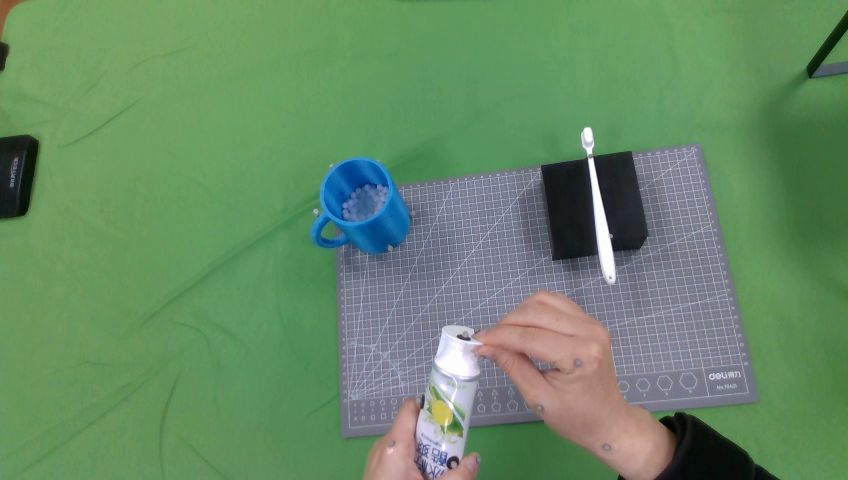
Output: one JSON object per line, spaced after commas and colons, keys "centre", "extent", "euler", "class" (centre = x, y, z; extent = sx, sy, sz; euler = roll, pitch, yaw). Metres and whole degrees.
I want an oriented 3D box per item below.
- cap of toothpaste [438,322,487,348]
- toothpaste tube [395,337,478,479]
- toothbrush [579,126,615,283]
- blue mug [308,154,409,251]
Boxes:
{"centre": [0.026, 0.069, 0.434], "extent": [0.037, 0.037, 0.011], "euler": [10, 97, 12], "class": "cap of toothpaste"}
{"centre": [0.008, 0.145, 0.453], "extent": [0.054, 0.035, 0.165], "euler": [20, 105, 32], "class": "toothpaste tube"}
{"centre": [0.188, -0.042, 0.658], "extent": [0.014, 0.017, 0.180], "euler": [-4, 73, 1], "class": "toothbrush"}
{"centre": [-0.081, -0.032, 0.702], "extent": [0.116, 0.106, 0.082], "euler": [-34, 71, -2], "class": "blue mug"}
